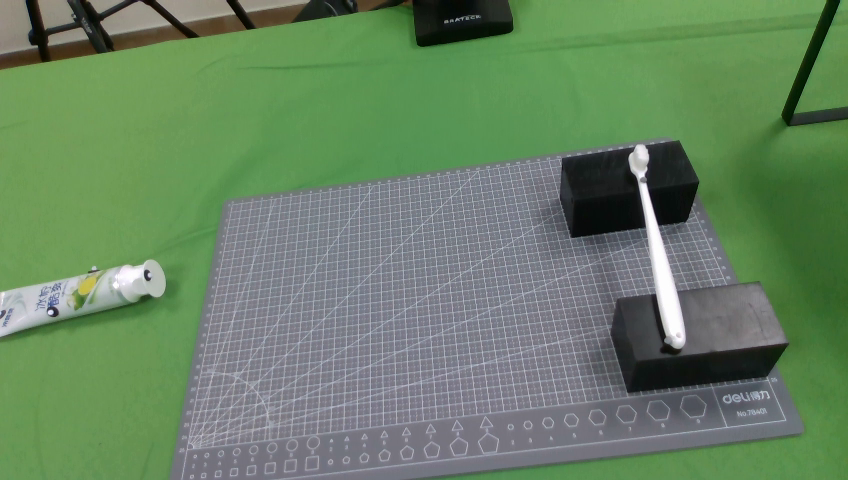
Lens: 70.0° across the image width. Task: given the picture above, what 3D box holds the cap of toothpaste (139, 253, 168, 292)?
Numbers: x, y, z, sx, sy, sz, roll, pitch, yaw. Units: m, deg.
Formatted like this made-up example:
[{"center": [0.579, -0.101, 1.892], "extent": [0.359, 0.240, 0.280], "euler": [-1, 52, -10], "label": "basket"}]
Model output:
[{"center": [-0.245, 0.030, 0.547], "extent": [0.011, 0.038, 0.037], "euler": [-13, 51, 4], "label": "cap of toothpaste"}]

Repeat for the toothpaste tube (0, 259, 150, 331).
[{"center": [-0.322, 0.045, 0.555], "extent": [0.165, 0.035, 0.054], "euler": [-13, 48, 4], "label": "toothpaste tube"}]

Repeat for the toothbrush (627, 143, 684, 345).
[{"center": [0.172, -0.005, 0.452], "extent": [0.014, 0.017, 0.180], "euler": [7, 54, -4], "label": "toothbrush"}]
